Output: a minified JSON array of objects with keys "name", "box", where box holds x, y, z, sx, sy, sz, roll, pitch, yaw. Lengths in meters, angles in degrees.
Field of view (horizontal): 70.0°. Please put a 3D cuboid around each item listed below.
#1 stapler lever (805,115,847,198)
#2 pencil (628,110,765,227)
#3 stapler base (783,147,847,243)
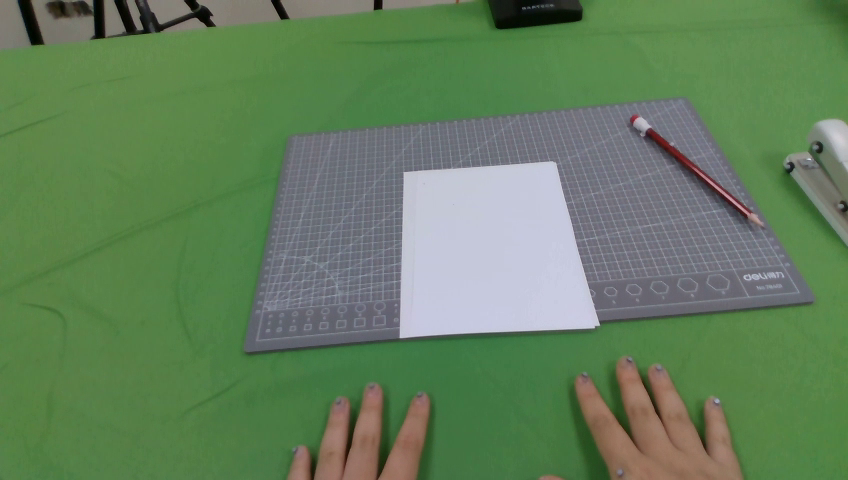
[{"name":"stapler lever","box":[0.369,-0.063,0.522,0.027,0.040,0.117,-9,46,2]},{"name":"pencil","box":[0.257,-0.073,0.584,0.012,0.012,0.192,-19,47,-12]},{"name":"stapler base","box":[0.371,-0.047,0.541,0.041,0.025,0.129,-8,47,2]}]
